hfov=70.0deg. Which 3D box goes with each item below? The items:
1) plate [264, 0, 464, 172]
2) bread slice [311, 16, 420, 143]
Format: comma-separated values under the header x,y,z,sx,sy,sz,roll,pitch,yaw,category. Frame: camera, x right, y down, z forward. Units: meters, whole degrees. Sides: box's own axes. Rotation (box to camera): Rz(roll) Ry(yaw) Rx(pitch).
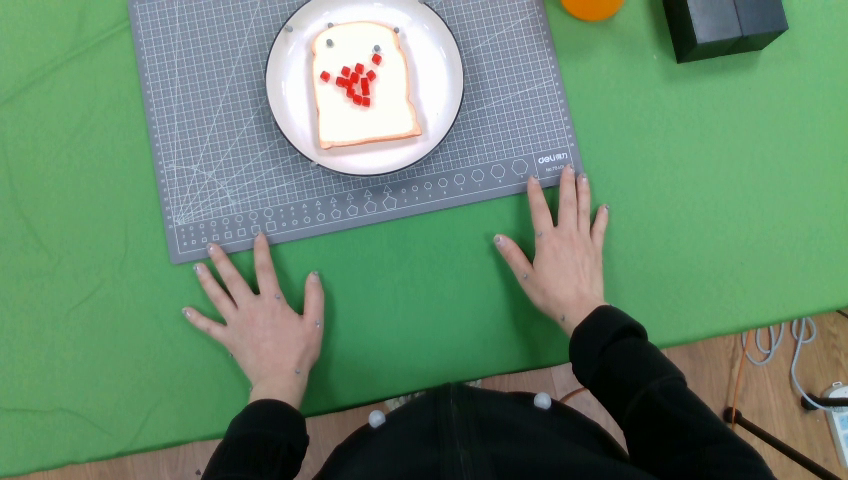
x,y,z,sx,sy,sz,roll,pitch,yaw,category
-0.061,-0.172,0.645,0.209,0.038,0.208,0,84,-1,plate
-0.070,-0.172,0.645,0.107,0.018,0.134,-12,84,-4,bread slice
